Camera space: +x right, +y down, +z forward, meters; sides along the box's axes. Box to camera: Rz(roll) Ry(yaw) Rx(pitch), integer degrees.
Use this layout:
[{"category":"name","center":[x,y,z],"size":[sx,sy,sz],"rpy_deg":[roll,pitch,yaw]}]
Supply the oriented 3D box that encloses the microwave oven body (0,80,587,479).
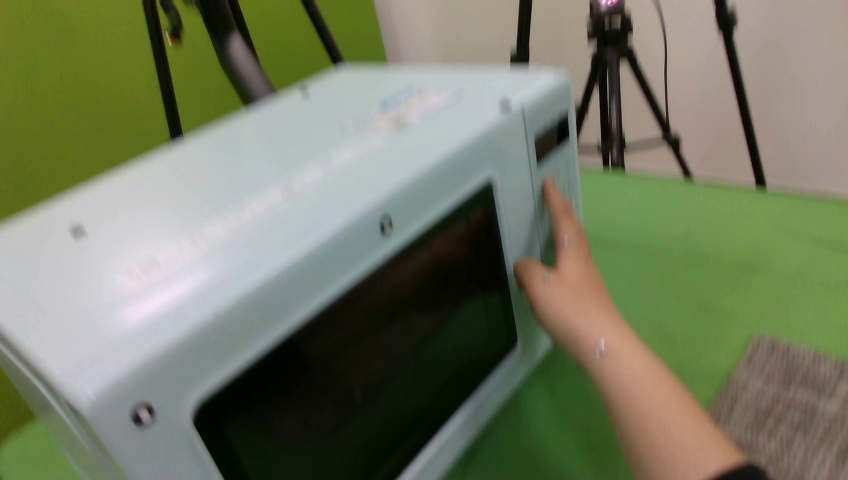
[{"category":"microwave oven body","center":[-0.104,0.050,0.558],"size":[0.323,0.262,0.441],"rpy_deg":[14,39,40]}]

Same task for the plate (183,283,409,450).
[{"category":"plate","center":[-0.112,0.112,0.556],"size":[0.209,0.038,0.207],"rpy_deg":[-11,28,7]}]

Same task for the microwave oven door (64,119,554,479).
[{"category":"microwave oven door","center":[-0.024,0.090,0.436],"size":[0.039,0.246,0.355],"rpy_deg":[13,38,40]}]

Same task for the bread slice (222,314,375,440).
[{"category":"bread slice","center":[-0.114,0.115,0.561],"size":[0.131,0.019,0.104],"rpy_deg":[-33,34,-27]}]

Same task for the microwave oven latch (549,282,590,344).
[{"category":"microwave oven latch","center":[0.139,0.072,0.616],"size":[0.030,0.030,0.079],"rpy_deg":[16,40,42]}]
